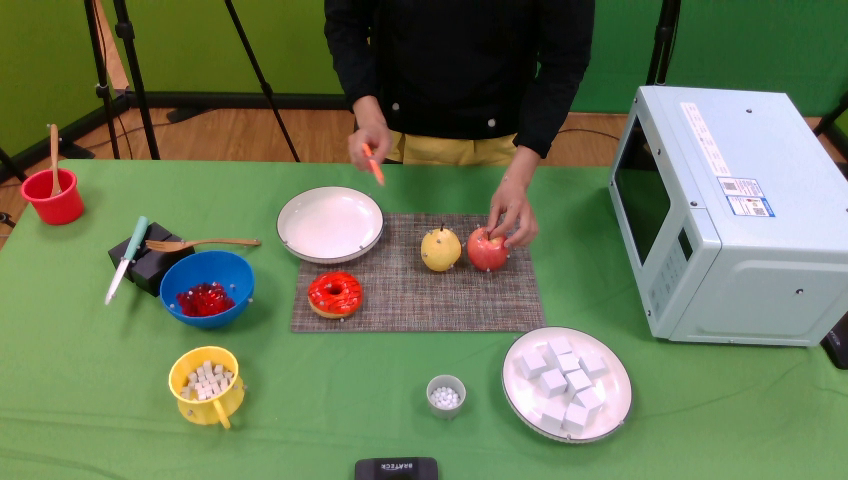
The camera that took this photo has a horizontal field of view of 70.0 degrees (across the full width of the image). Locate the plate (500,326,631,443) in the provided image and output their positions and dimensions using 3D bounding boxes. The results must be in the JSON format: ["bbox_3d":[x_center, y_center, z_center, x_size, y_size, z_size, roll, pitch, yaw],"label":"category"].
[{"bbox_3d":[0.224,0.234,0.978,0.208,0.039,0.206,2,46,-2],"label":"plate"}]

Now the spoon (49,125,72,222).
[{"bbox_3d":[-0.717,-0.131,1.189,0.041,0.021,0.193,-3,90,-7],"label":"spoon"}]

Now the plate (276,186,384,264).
[{"bbox_3d":[-0.184,-0.027,1.195,0.209,0.038,0.208,2,46,-2],"label":"plate"}]

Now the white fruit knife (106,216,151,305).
[{"bbox_3d":[-0.519,0.032,1.066,0.027,0.016,0.206,-18,45,19],"label":"white fruit knife"}]

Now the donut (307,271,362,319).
[{"bbox_3d":[-0.157,0.097,1.073,0.099,0.048,0.098,4,45,-4],"label":"donut"}]

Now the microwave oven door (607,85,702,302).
[{"bbox_3d":[0.423,-0.094,1.140,0.039,0.245,0.353,2,46,-1],"label":"microwave oven door"}]

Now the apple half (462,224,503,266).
[{"bbox_3d":[0.117,0.017,1.149,0.081,0.075,0.053,-23,53,-31],"label":"apple half"}]

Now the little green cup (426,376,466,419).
[{"bbox_3d":[0.033,0.248,0.950,0.061,0.039,0.061,2,46,-2],"label":"little green cup"}]

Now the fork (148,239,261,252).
[{"bbox_3d":[-0.399,0.007,1.118,0.208,0.019,0.028,-4,36,-36],"label":"fork"}]

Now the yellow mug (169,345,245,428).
[{"bbox_3d":[-0.322,0.230,0.922,0.100,0.064,0.130,-24,53,-25],"label":"yellow mug"}]

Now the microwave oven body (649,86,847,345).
[{"bbox_3d":[0.567,-0.053,1.118,0.326,0.261,0.439,2,45,-1],"label":"microwave oven body"}]

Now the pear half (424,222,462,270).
[{"bbox_3d":[0.039,0.000,1.135,0.076,0.110,0.056,24,50,14],"label":"pear half"}]

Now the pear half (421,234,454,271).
[{"bbox_3d":[0.020,0.028,1.120,0.070,0.088,0.031,25,49,13],"label":"pear half"}]

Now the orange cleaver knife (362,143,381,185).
[{"bbox_3d":[-0.091,-0.130,1.059,0.012,0.077,0.211,-24,9,-3],"label":"orange cleaver knife"}]

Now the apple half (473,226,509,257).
[{"bbox_3d":[0.124,-0.001,1.168,0.081,0.081,0.032,7,49,3],"label":"apple half"}]

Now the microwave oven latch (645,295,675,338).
[{"bbox_3d":[0.411,0.134,1.061,0.030,0.029,0.078,3,45,0],"label":"microwave oven latch"}]

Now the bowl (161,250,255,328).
[{"bbox_3d":[-0.362,0.097,1.040,0.151,0.077,0.150,2,45,-2],"label":"bowl"}]
